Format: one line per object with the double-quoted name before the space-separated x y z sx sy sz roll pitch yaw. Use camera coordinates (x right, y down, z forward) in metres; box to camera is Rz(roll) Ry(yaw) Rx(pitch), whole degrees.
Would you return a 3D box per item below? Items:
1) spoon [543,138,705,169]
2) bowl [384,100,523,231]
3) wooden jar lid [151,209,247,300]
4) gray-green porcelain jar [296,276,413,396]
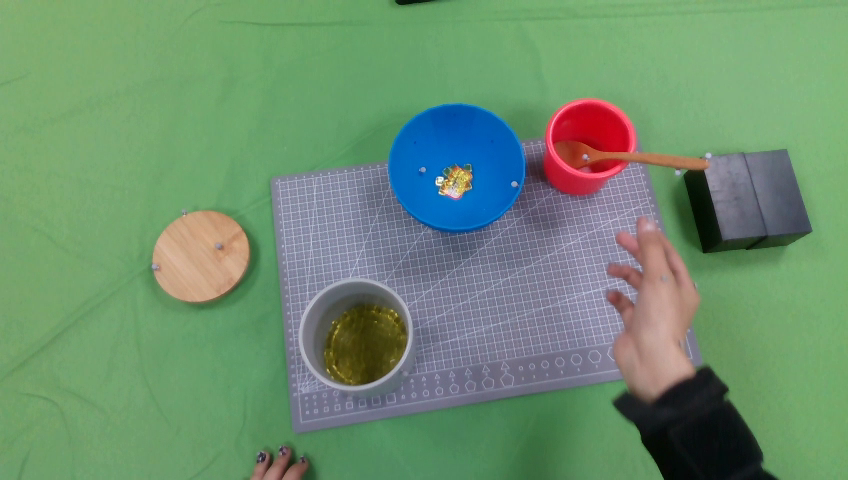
"spoon" 0.209 -0.091 0.658 0.022 0.192 0.041 37 76 -36
"bowl" 0.033 -0.073 0.689 0.151 0.077 0.150 0 73 1
"wooden jar lid" -0.256 0.017 0.697 0.108 0.021 0.107 0 73 1
"gray-green porcelain jar" -0.064 0.102 0.612 0.106 0.127 0.105 0 73 0
